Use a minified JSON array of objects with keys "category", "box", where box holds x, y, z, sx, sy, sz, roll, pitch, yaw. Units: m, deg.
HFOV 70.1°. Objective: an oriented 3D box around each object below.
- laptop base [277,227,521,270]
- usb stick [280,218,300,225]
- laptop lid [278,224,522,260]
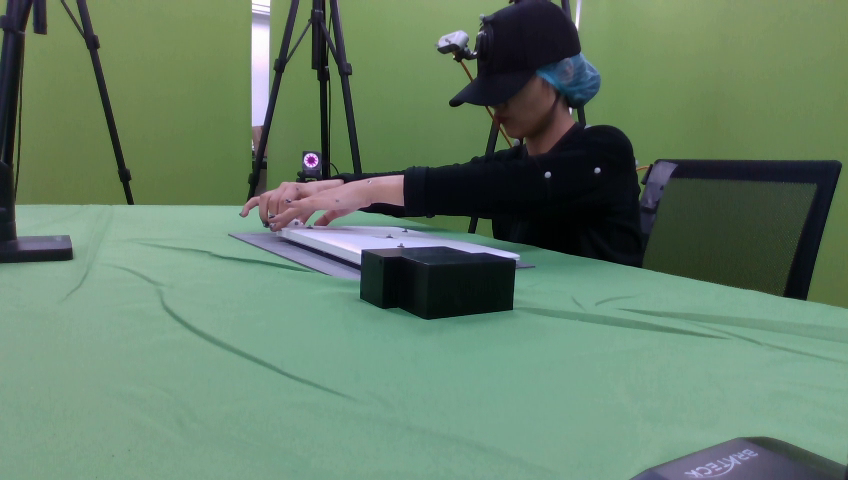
[{"category":"laptop base","box":[-0.055,0.010,0.911,0.237,0.023,0.352,2,6,-33]},{"category":"usb stick","box":[-0.226,-0.023,1.027,0.021,0.027,0.059,1,7,-32]},{"category":"laptop lid","box":[-0.052,-0.001,0.910,0.243,0.013,0.355,0,7,-31]}]
